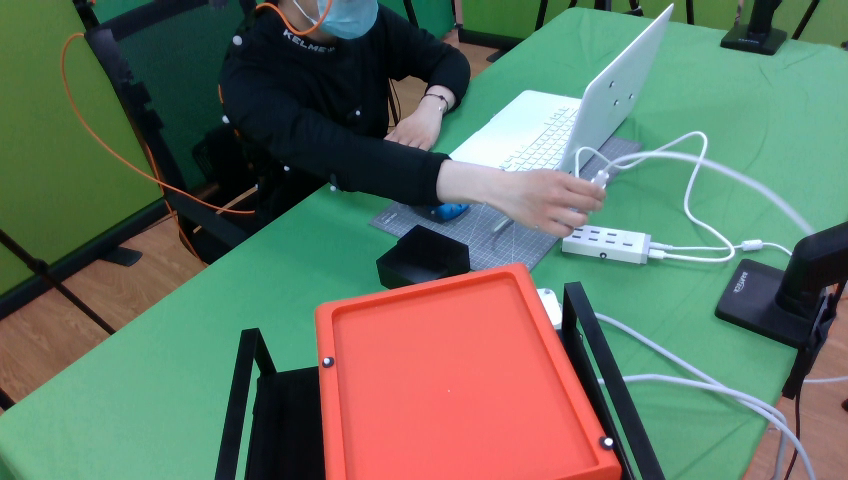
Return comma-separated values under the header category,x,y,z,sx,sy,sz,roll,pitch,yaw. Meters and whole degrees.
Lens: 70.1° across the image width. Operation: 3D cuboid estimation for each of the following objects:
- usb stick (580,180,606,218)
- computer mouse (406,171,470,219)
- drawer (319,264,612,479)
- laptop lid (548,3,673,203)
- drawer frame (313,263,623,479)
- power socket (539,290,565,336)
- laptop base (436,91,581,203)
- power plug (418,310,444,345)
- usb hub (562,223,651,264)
category,x,y,z,sx,sy,sz,roll,pitch,yaw
usb stick,0.239,-0.056,0.863,0.021,0.059,0.027,28,55,16
computer mouse,0.024,-0.082,1.049,0.063,0.041,0.116,-30,50,-28
drawer,0.020,0.129,0.497,0.195,0.073,0.210,-11,41,-5
laptop lid,0.320,-0.235,1.026,0.013,0.242,0.357,31,50,20
drawer frame,0.021,0.130,0.494,0.202,0.083,0.212,-11,41,-6
power socket,0.081,0.112,0.822,0.227,0.033,0.072,-7,41,0
laptop base,0.215,-0.192,1.172,0.233,0.023,0.355,19,46,32
power plug,0.007,0.122,0.786,0.035,0.053,0.072,0,39,7
usb hub,0.279,0.004,0.925,0.124,0.025,0.049,10,42,19
